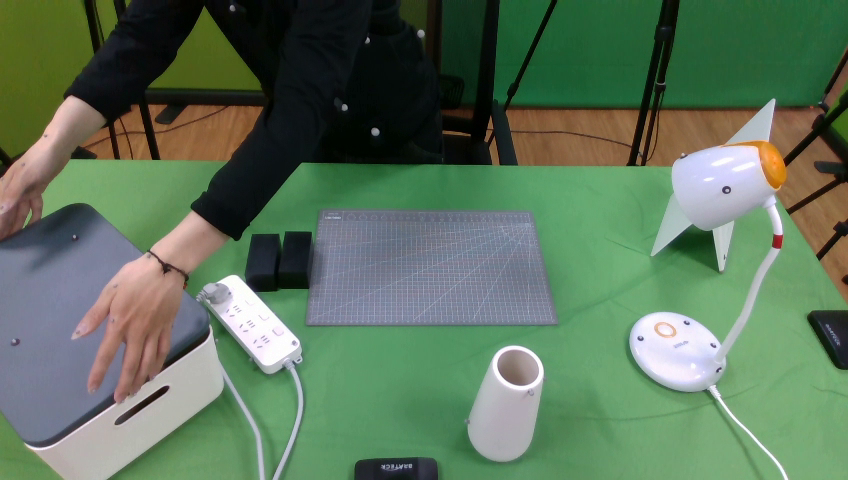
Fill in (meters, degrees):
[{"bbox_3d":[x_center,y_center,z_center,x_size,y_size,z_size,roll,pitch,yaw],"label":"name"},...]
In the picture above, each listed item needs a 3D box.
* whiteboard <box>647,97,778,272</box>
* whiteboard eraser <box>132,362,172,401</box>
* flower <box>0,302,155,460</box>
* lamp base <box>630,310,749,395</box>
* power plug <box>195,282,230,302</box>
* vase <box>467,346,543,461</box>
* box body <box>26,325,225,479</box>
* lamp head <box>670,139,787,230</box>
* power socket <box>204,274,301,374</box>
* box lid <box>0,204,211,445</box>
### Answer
[{"bbox_3d":[0.602,-0.079,1.162,0.144,0.306,0.216,35,51,2],"label":"whiteboard"},{"bbox_3d":[-0.418,0.214,0.937,0.112,0.042,0.055,25,48,20],"label":"whiteboard eraser"},{"bbox_3d":[-0.553,0.222,0.944,0.361,0.038,0.044,39,62,6],"label":"flower"},{"bbox_3d":[0.447,0.143,0.984,0.161,0.181,0.178,-24,55,-24],"label":"lamp base"},{"bbox_3d":[-0.368,0.097,1.038,0.072,0.053,0.035,-26,54,-21],"label":"power plug"},{"bbox_3d":[0.116,0.235,0.860,0.098,0.201,0.097,1,47,-1],"label":"vase"},{"bbox_3d":[-0.506,0.155,0.915,0.362,0.161,0.254,35,54,26],"label":"box body"},{"bbox_3d":[0.415,-0.078,0.811,0.113,0.123,0.112,12,70,-37],"label":"lamp head"},{"bbox_3d":[-0.297,0.140,1.035,0.072,0.033,0.225,-33,57,-29],"label":"power socket"},{"bbox_3d":[-0.510,0.092,0.857,0.370,0.015,0.263,33,53,25],"label":"box lid"}]
